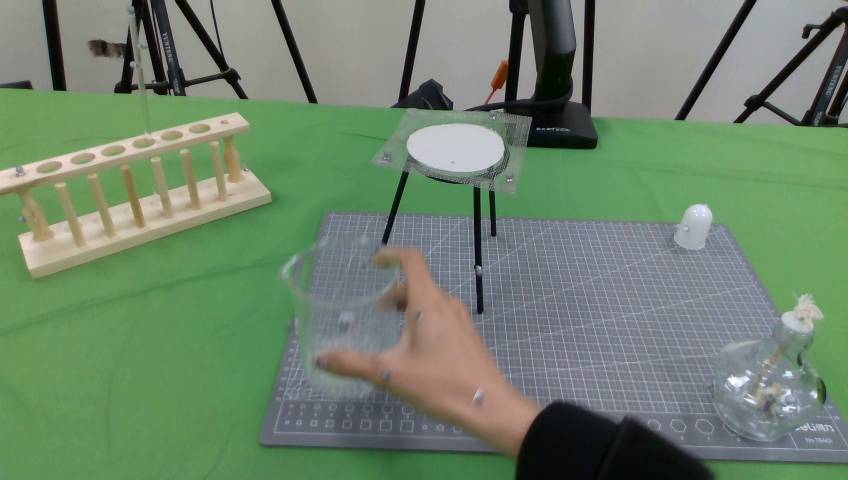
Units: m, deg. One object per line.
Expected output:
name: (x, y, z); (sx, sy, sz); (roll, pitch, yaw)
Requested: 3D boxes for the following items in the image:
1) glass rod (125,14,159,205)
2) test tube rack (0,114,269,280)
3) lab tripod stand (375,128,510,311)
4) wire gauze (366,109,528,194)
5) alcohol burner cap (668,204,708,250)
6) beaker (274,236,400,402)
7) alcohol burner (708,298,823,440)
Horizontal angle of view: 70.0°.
glass rod: (-0.284, -0.125, 0.615); (0.008, 0.201, 0.008); (5, 31, -2)
test tube rack: (-0.293, -0.052, 0.627); (0.243, 0.086, 0.066); (-23, 44, -28)
lab tripod stand: (0.024, -0.026, 0.565); (0.148, 0.132, 0.147); (0, 39, 0)
wire gauze: (0.024, -0.085, 0.532); (0.125, 0.011, 0.120); (10, 39, 11)
alcohol burner cap: (0.281, -0.017, 0.641); (0.034, 0.048, 0.033); (2, 38, -1)
beaker: (-0.059, 0.059, 0.430); (0.084, 0.101, 0.073); (1, 36, -1)
alcohol burner: (0.255, 0.090, 0.443); (0.078, 0.120, 0.077); (2, 36, -1)
